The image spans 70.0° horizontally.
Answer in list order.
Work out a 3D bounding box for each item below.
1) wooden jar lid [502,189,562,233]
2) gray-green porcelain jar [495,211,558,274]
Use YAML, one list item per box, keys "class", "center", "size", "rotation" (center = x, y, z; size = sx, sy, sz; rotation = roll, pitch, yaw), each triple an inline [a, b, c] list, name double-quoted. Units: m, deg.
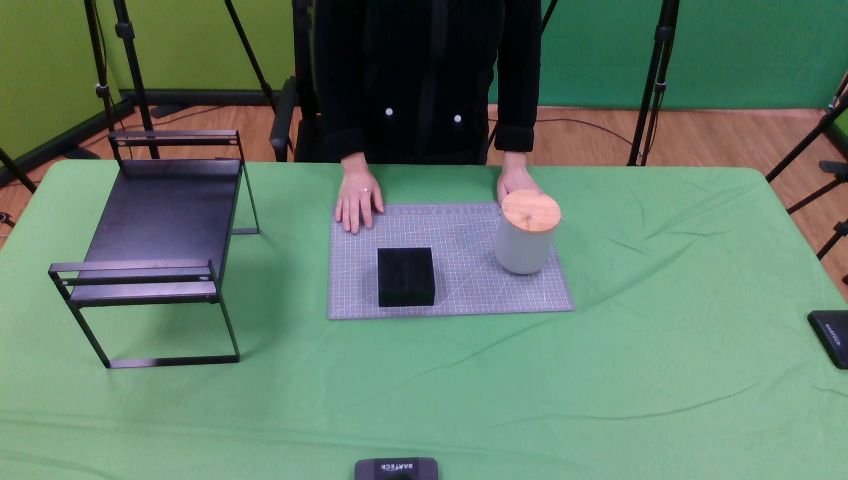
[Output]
- class: "wooden jar lid"
  center: [0.194, -0.050, 1.095]
  size: [0.108, 0.021, 0.107]
  rotation: [4, 47, -4]
- class: "gray-green porcelain jar"
  center: [0.191, -0.007, 1.140]
  size: [0.106, 0.127, 0.105]
  rotation: [2, 47, -2]
